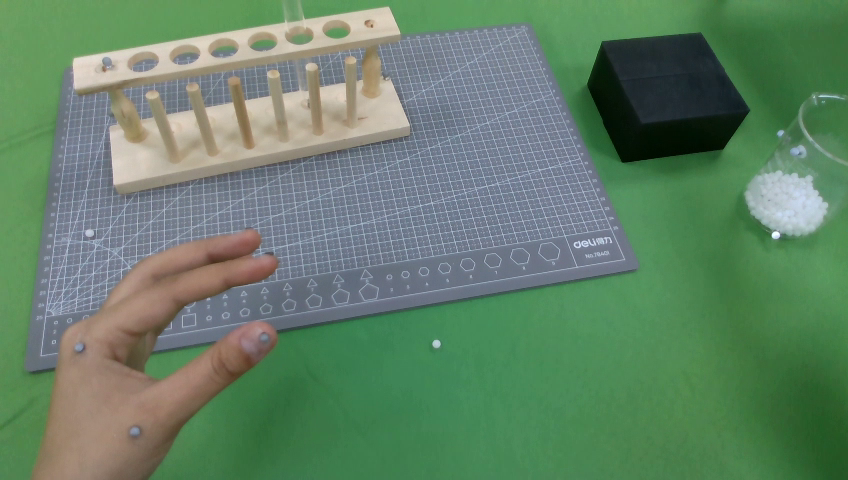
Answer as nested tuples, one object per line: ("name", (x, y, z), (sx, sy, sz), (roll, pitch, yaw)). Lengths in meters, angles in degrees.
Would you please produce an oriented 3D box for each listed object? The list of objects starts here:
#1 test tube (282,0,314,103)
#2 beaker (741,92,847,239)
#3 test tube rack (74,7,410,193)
("test tube", (-0.098, -0.167, 0.468), (0.017, 0.151, 0.017), (0, 53, 0))
("beaker", (0.307, -0.055, 0.482), (0.074, 0.101, 0.083), (-7, 58, -8))
("test tube rack", (-0.135, -0.114, 0.491), (0.243, 0.086, 0.066), (-14, 59, -12))
